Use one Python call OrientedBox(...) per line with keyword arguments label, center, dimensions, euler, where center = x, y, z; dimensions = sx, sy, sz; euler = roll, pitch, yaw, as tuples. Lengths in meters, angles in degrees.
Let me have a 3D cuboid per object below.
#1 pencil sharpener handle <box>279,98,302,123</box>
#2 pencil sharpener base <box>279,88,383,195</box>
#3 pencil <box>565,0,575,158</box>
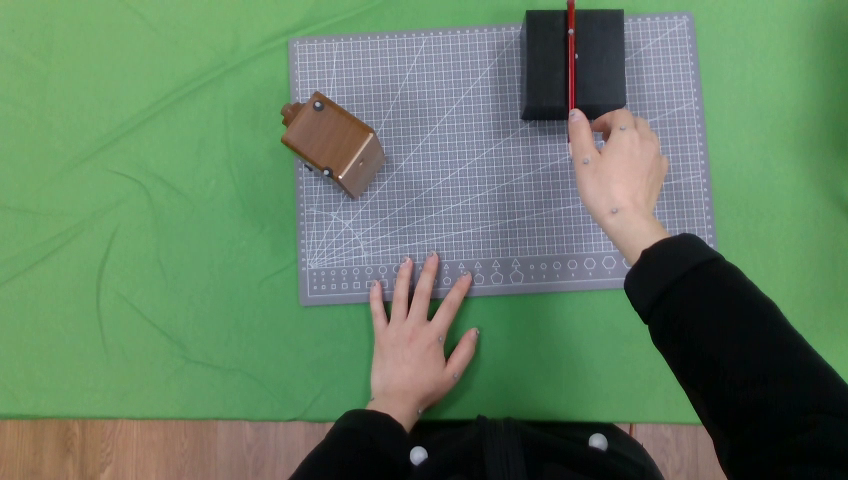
OrientedBox(label="pencil sharpener handle", center=(-0.135, -0.127, 0.604), dimensions=(0.030, 0.068, 0.036), euler=(36, 79, 5))
OrientedBox(label="pencil sharpener base", center=(-0.092, -0.098, 0.613), dimensions=(0.076, 0.107, 0.061), euler=(36, 87, 5))
OrientedBox(label="pencil", center=(0.149, -0.178, 0.614), dimensions=(0.012, 0.012, 0.193), euler=(1, 86, 2))
